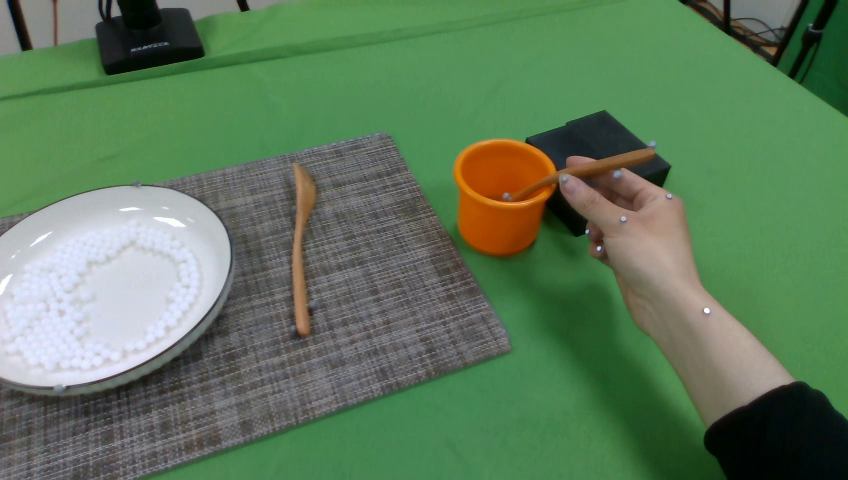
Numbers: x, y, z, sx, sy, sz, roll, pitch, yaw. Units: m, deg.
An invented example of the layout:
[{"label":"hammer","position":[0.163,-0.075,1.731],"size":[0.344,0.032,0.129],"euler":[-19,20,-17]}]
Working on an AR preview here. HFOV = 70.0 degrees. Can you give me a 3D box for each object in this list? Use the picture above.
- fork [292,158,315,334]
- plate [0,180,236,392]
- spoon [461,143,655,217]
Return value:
[{"label":"fork","position":[-0.111,-0.003,0.549],"size":[0.018,0.028,0.205],"euler":[-24,49,19]},{"label":"plate","position":[-0.258,0.034,0.498],"size":[0.209,0.038,0.207],"euler":[1,48,-1]},{"label":"spoon","position":[0.105,-0.051,0.518],"size":[0.022,0.193,0.041],"euler":[51,51,-17]}]
